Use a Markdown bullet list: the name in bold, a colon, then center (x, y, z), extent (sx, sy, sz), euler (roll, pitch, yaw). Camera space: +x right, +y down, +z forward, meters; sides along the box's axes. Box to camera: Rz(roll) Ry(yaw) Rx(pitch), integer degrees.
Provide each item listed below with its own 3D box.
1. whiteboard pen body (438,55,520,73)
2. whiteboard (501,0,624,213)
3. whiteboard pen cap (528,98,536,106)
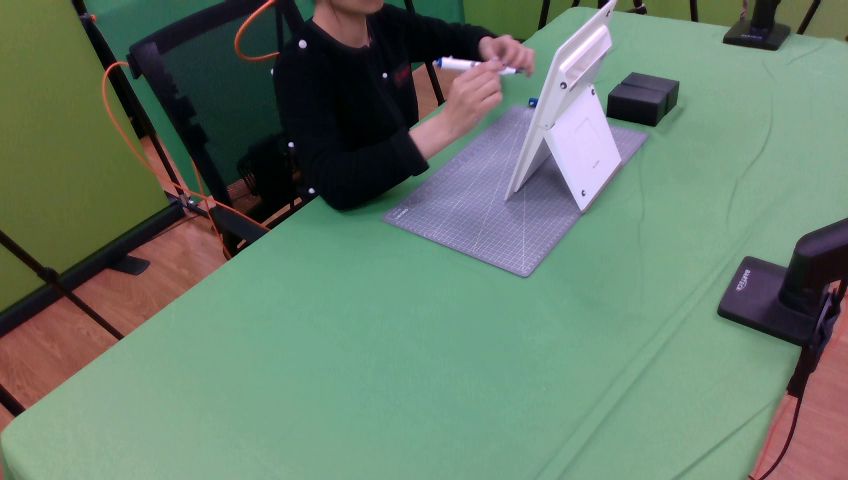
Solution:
- **whiteboard pen body**: center (0.091, -0.282, 0.977), extent (0.141, 0.017, 0.017), euler (2, 38, -16)
- **whiteboard**: center (0.271, -0.189, 0.977), extent (0.143, 0.306, 0.218), euler (34, 53, 16)
- **whiteboard pen cap**: center (0.239, -0.293, 1.288), extent (0.033, 0.018, 0.018), euler (22, 50, 35)
